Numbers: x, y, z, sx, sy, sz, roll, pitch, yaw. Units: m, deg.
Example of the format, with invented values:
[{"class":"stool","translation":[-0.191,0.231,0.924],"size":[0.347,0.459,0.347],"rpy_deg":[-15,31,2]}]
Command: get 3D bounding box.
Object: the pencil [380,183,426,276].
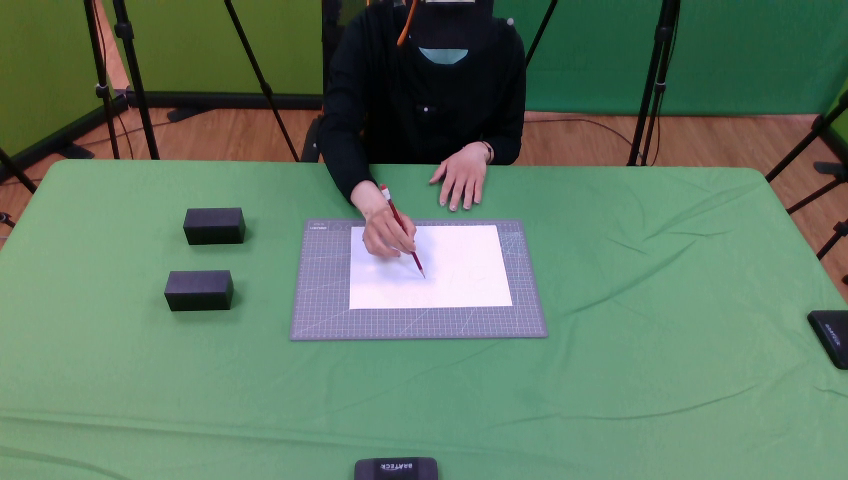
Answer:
[{"class":"pencil","translation":[-0.036,-0.017,1.111],"size":[0.012,0.194,0.012],"rpy_deg":[-23,15,7]}]
